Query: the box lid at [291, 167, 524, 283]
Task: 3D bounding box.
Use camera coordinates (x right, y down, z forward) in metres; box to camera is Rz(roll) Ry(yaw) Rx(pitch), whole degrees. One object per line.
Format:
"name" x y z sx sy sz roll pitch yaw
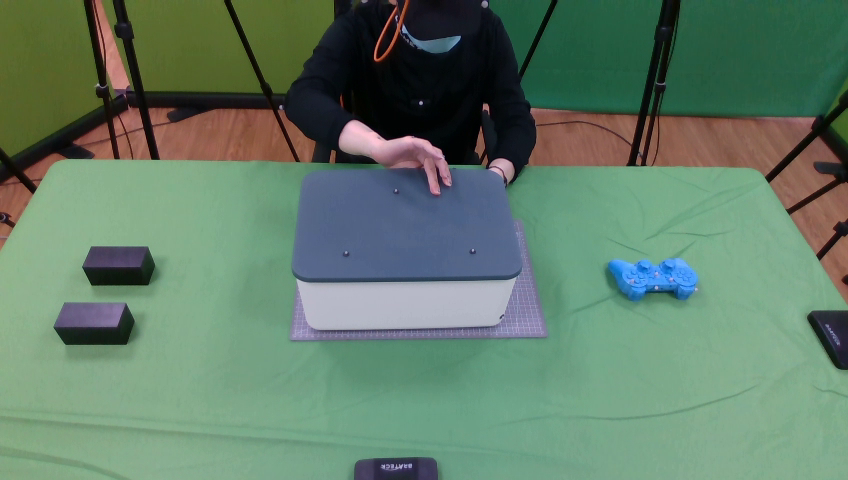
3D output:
"box lid" -0.027 -0.033 1.020 0.372 0.015 0.261 -1 47 -4

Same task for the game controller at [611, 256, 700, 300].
"game controller" 0.441 0.062 1.144 0.155 0.052 0.096 -1 51 -4

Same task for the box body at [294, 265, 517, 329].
"box body" -0.033 0.017 1.074 0.364 0.161 0.252 -1 47 -4
